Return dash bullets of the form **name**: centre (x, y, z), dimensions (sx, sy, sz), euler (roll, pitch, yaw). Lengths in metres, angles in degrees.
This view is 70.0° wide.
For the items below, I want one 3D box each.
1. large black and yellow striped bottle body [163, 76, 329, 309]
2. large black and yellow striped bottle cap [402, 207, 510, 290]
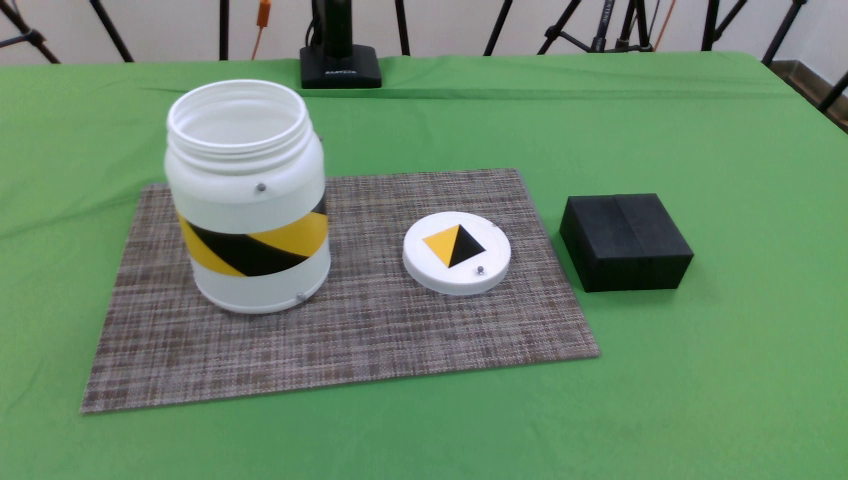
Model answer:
- **large black and yellow striped bottle body**: centre (-0.157, -0.041, 0.553), dimensions (0.131, 0.185, 0.129), euler (2, 43, -2)
- **large black and yellow striped bottle cap**: centre (0.033, 0.006, 0.643), dimensions (0.115, 0.019, 0.114), euler (2, 42, -1)
